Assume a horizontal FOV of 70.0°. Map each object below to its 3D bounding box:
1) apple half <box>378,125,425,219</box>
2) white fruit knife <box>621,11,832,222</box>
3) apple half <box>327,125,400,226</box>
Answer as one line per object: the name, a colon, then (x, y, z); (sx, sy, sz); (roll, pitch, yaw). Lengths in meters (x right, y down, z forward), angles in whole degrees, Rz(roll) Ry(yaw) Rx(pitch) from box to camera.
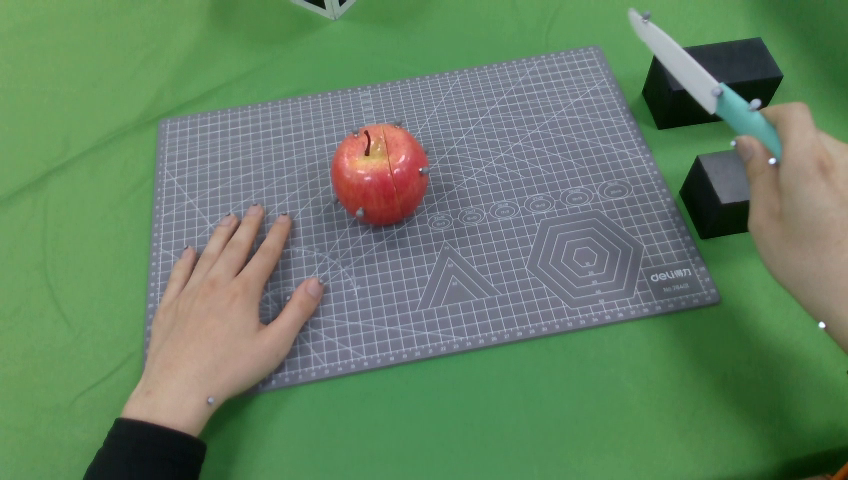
apple half: (-0.015, -0.058, 0.507); (0.033, 0.082, 0.080); (-14, 58, 1)
white fruit knife: (0.208, -0.097, 0.431); (0.016, 0.027, 0.205); (-26, 67, -23)
apple half: (-0.053, -0.049, 0.506); (0.053, 0.075, 0.080); (-13, 63, 1)
